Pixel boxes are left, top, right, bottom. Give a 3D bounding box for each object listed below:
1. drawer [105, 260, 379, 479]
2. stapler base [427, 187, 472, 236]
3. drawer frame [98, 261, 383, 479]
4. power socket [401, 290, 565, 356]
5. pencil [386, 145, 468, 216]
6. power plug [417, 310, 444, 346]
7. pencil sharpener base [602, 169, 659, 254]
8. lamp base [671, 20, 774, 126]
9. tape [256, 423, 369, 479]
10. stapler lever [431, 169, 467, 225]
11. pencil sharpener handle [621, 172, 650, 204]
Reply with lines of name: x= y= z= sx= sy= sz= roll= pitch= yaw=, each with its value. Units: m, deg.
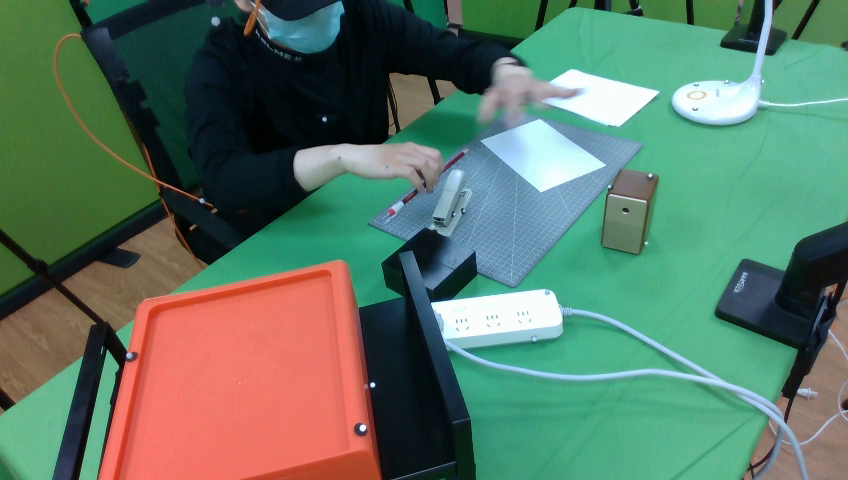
drawer: x=-0.150 y=0.127 z=0.525 sx=0.195 sy=0.073 sz=0.210 roll=-11 pitch=41 yaw=-5
stapler base: x=0.045 y=-0.057 z=1.028 sx=0.041 sy=0.024 sz=0.130 roll=9 pitch=44 yaw=20
drawer frame: x=-0.148 y=0.129 z=0.519 sx=0.202 sy=0.083 sz=0.212 roll=-12 pitch=41 yaw=-6
power socket: x=0.080 y=0.112 z=0.822 sx=0.227 sy=0.033 sz=0.072 roll=-6 pitch=41 yaw=0
pencil: x=0.009 y=-0.096 z=0.931 sx=0.012 sy=0.012 sz=0.194 roll=26 pitch=55 yaw=33
power plug: x=0.006 y=0.122 z=0.785 sx=0.035 sy=0.053 sz=0.072 roll=-1 pitch=40 yaw=8
pencil sharpener base: x=0.312 y=-0.044 z=0.914 sx=0.061 sy=0.107 sz=0.077 roll=14 pitch=45 yaw=24
lamp base: x=0.581 y=-0.332 z=1.154 sx=0.179 sy=0.181 sz=0.160 roll=2 pitch=41 yaw=7
tape: x=-0.121 y=0.263 z=0.660 sx=0.117 sy=0.053 sz=0.116 roll=-4 pitch=40 yaw=4
stapler lever: x=0.043 y=-0.075 z=1.010 sx=0.026 sy=0.040 sz=0.118 roll=9 pitch=44 yaw=21
pencil sharpener handle: x=0.328 y=-0.087 z=0.941 sx=0.036 sy=0.068 sz=0.030 roll=30 pitch=49 yaw=8
